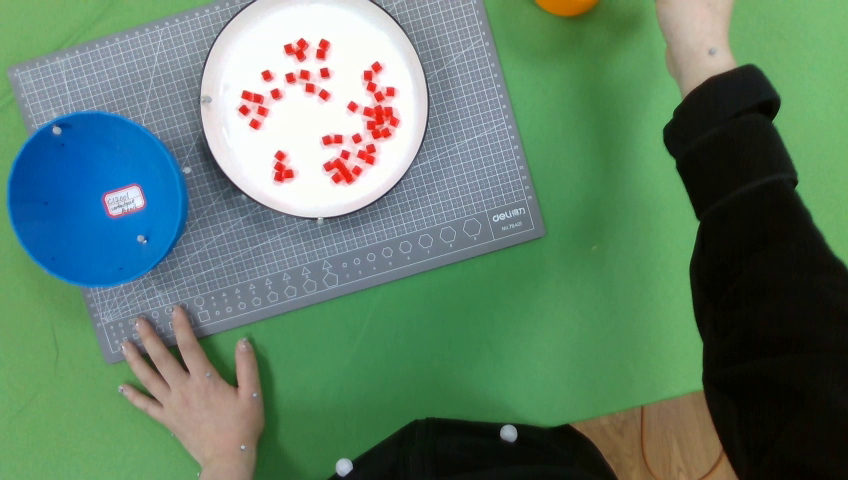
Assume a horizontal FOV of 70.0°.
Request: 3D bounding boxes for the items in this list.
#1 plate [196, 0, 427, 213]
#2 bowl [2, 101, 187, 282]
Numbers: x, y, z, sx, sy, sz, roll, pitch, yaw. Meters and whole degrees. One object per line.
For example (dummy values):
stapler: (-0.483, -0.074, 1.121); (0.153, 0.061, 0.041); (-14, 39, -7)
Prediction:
plate: (-0.100, -0.130, 0.558); (0.209, 0.038, 0.209); (0, 95, 1)
bowl: (-0.279, -0.042, 0.547); (0.151, 0.076, 0.151); (0, 95, 0)
